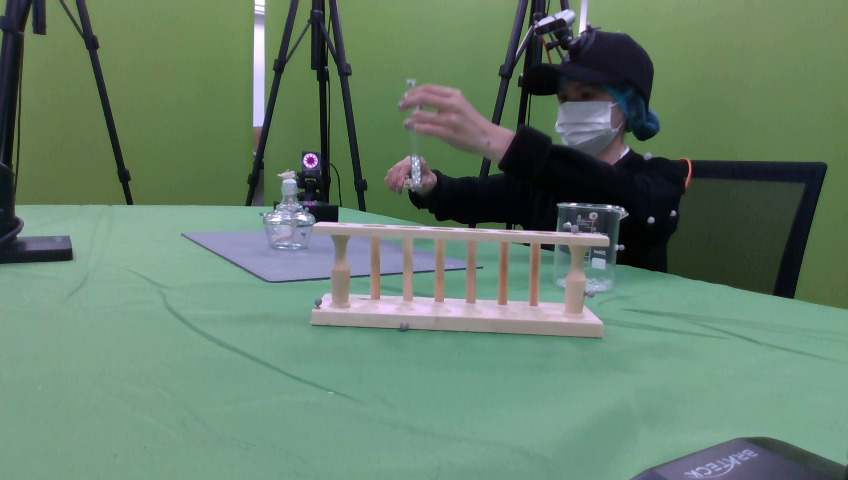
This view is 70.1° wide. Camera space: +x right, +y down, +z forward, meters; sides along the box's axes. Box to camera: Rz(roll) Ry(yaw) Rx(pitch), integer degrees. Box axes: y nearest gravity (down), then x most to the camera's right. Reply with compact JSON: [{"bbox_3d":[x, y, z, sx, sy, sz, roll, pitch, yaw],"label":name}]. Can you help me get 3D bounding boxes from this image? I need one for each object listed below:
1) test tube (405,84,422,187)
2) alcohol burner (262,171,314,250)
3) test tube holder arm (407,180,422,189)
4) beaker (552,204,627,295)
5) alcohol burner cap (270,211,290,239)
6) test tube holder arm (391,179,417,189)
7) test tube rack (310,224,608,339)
[{"bbox_3d":[-0.015,-0.151,0.886,0.017,0.150,0.017,-3,16,1],"label":"test tube"},{"bbox_3d":[-0.205,-0.045,0.913,0.078,0.119,0.078,1,8,0],"label":"alcohol burner"},{"bbox_3d":[-0.019,-0.094,1.027,0.010,0.015,0.087,8,2,-16],"label":"test tube holder arm"},{"bbox_3d":[0.191,0.010,0.708,0.083,0.100,0.074,8,9,33],"label":"beaker"},{"bbox_3d":[-0.246,-0.026,1.035,0.034,0.048,0.034,2,8,0],"label":"alcohol burner cap"},{"bbox_3d":[-0.037,-0.098,1.068,0.013,0.015,0.178,8,2,-16],"label":"test tube holder arm"},{"bbox_3d":[0.028,0.032,0.528,0.242,0.085,0.067,3,7,0],"label":"test tube rack"}]
